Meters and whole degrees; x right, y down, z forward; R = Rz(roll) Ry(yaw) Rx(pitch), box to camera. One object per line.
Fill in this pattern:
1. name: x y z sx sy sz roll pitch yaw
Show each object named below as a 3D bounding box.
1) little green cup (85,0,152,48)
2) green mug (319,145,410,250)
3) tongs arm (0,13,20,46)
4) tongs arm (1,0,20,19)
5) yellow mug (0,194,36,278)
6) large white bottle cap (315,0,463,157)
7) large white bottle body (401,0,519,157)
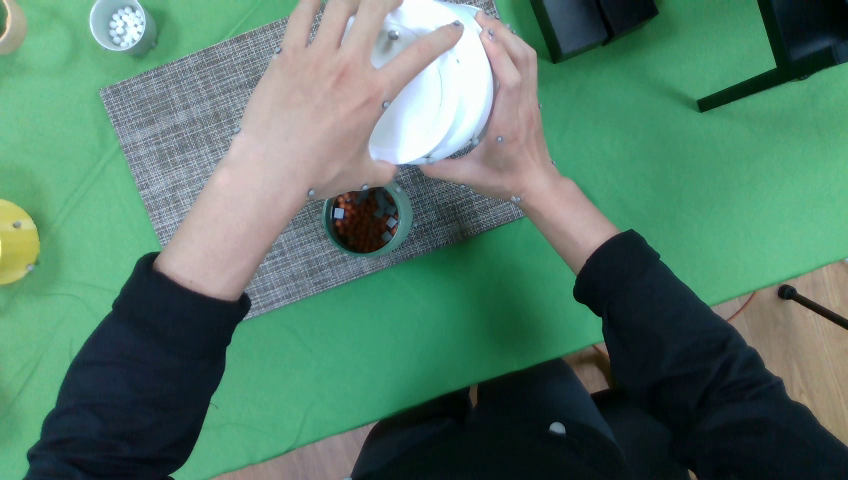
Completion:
1. little green cup: -0.331 -0.241 0.662 0.061 0.038 0.061 0 96 0
2. green mug: -0.064 -0.050 0.642 0.092 0.105 0.125 -3 95 1
3. tongs arm: -0.620 -0.236 0.633 0.385 0.026 0.051 8 92 1
4. tongs arm: -0.601 -0.317 0.627 0.387 0.028 0.028 22 88 0
5. yellow mug: -0.503 0.013 0.672 0.100 0.064 0.131 12 96 -1
6. large white bottle cap: -0.028 -0.119 0.453 0.114 0.018 0.115 7 112 18
7. large white bottle body: 0.002 -0.145 0.528 0.130 0.184 0.131 7 111 19
